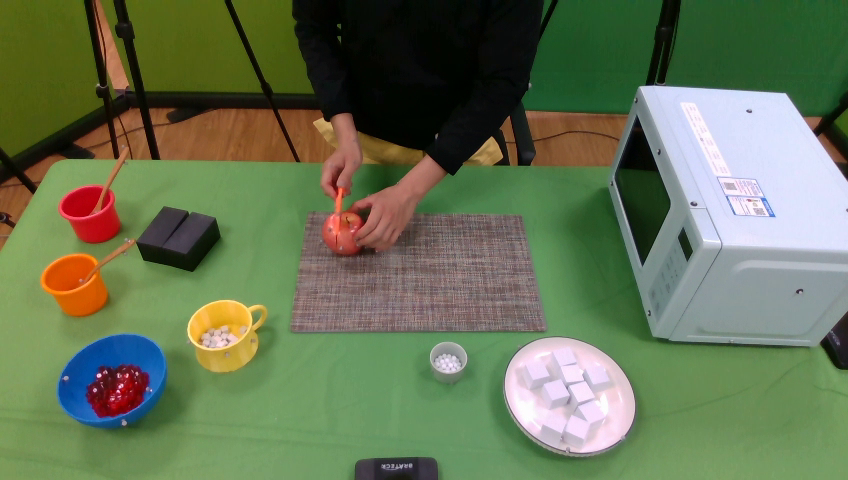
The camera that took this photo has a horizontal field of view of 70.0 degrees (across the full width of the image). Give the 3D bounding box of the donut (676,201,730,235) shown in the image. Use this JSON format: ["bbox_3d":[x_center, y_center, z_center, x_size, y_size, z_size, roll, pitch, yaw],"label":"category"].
[{"bbox_3d":[0.538,-0.044,1.170,0.099,0.048,0.098,4,30,-2],"label":"donut"}]

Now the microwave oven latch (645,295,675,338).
[{"bbox_3d":[0.412,0.134,1.061,0.030,0.029,0.078,3,45,0],"label":"microwave oven latch"}]

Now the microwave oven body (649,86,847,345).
[{"bbox_3d":[0.568,-0.053,1.118,0.326,0.261,0.439,2,45,-1],"label":"microwave oven body"}]

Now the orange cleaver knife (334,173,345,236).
[{"bbox_3d":[-0.161,-0.072,1.152,0.012,0.077,0.210,5,23,-6],"label":"orange cleaver knife"}]

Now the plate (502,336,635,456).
[{"bbox_3d":[0.225,0.248,0.964,0.208,0.039,0.206,2,46,-2],"label":"plate"}]

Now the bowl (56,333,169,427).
[{"bbox_3d":[-0.456,0.223,0.911,0.151,0.077,0.150,3,46,-2],"label":"bowl"}]

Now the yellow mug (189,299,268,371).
[{"bbox_3d":[-0.316,0.148,1.002,0.131,0.064,0.099,-33,56,-31],"label":"yellow mug"}]

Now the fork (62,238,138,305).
[{"bbox_3d":[-0.547,0.053,1.018,0.207,0.019,0.028,-36,41,23],"label":"fork"}]

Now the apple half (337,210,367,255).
[{"bbox_3d":[-0.136,-0.011,1.158,0.053,0.075,0.080,7,40,-3],"label":"apple half"}]

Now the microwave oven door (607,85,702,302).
[{"bbox_3d":[0.423,-0.094,1.141,0.039,0.245,0.353,2,46,-1],"label":"microwave oven door"}]

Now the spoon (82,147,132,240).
[{"bbox_3d":[-0.602,-0.089,1.156,0.041,0.022,0.193,27,95,19],"label":"spoon"}]

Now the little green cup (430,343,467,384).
[{"bbox_3d":[0.039,0.203,0.994,0.061,0.039,0.061,2,46,-2],"label":"little green cup"}]

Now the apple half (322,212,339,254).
[{"bbox_3d":[-0.178,-0.011,1.155,0.033,0.081,0.081,0,46,-4],"label":"apple half"}]

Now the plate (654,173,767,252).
[{"bbox_3d":[0.555,-0.049,1.187,0.209,0.038,0.208,1,47,-1],"label":"plate"}]
